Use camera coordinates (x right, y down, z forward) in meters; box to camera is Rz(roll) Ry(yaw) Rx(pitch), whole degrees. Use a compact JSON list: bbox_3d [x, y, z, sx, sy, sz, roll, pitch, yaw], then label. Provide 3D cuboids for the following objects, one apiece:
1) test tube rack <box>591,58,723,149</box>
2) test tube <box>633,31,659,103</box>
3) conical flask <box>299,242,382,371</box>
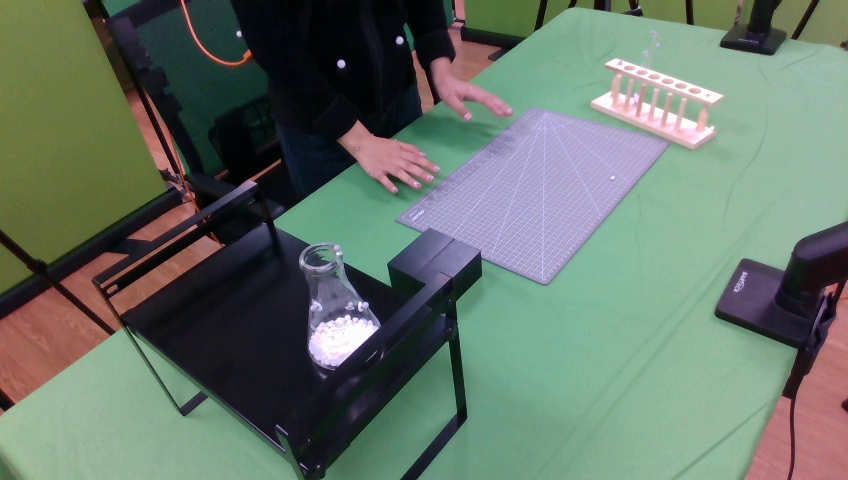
[{"bbox_3d":[0.442,-0.269,1.171,0.067,0.085,0.240,-30,46,-24],"label":"test tube rack"},{"bbox_3d":[0.427,-0.331,1.169,0.017,0.151,0.017,0,47,1],"label":"test tube"},{"bbox_3d":[-0.085,0.059,0.565,0.075,0.122,0.075,-5,41,4],"label":"conical flask"}]
